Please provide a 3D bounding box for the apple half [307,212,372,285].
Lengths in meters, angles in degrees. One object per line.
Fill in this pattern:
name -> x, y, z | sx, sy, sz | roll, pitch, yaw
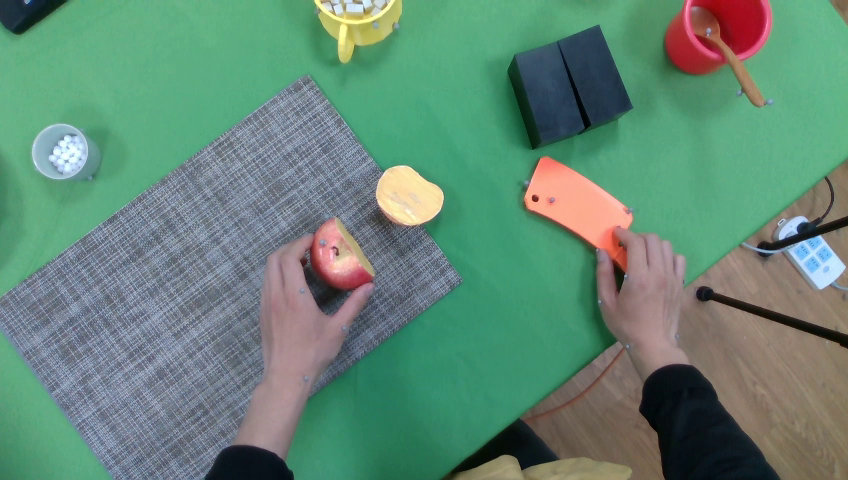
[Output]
apple half -> -0.099, 0.016, 0.663 | 0.053, 0.074, 0.081 | -34, 91, 2

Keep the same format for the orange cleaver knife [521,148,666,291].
orange cleaver knife -> 0.204, -0.024, 0.704 | 0.211, 0.012, 0.077 | 38, 80, 0

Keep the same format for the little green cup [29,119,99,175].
little green cup -> -0.399, -0.101, 0.677 | 0.061, 0.038, 0.061 | 0, 89, -1

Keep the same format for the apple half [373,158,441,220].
apple half -> -0.025, -0.050, 0.684 | 0.081, 0.033, 0.080 | 9, 58, -15

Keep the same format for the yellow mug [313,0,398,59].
yellow mug -> -0.082, -0.268, 0.677 | 0.100, 0.064, 0.130 | 11, 89, -1

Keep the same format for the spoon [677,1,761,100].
spoon -> 0.317, -0.208, 0.650 | 0.041, 0.191, 0.022 | 0, 133, -2
